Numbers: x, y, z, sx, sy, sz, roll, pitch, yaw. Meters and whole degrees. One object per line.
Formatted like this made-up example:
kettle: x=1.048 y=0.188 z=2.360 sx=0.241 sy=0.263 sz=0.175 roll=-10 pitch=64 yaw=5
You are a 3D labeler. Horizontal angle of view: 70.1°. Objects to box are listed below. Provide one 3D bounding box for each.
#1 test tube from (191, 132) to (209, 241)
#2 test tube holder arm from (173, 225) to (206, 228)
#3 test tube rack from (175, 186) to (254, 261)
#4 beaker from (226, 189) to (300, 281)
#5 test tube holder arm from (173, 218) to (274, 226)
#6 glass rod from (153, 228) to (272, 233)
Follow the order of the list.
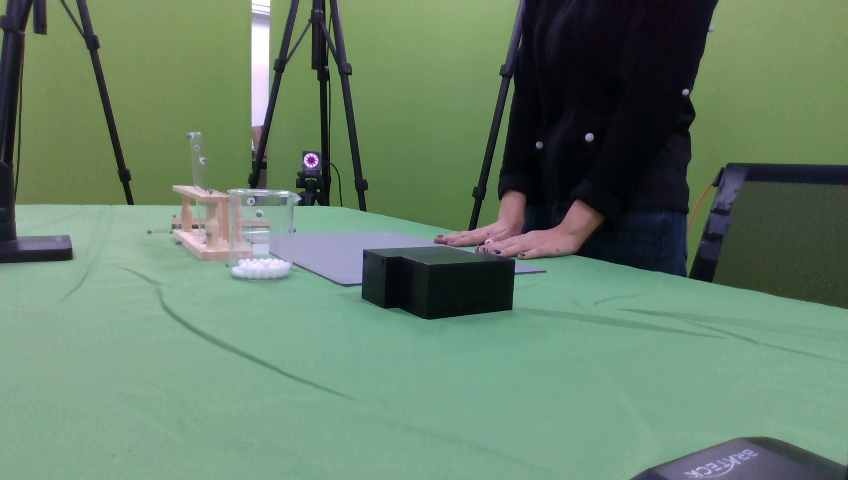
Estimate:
test tube: x=-0.308 y=-0.074 z=0.840 sx=0.017 sy=0.150 sz=0.017 roll=-4 pitch=6 yaw=1
test tube holder arm: x=-0.414 y=-0.030 z=1.113 sx=0.088 sy=0.015 sz=0.010 roll=-1 pitch=-21 yaw=-25
test tube rack: x=-0.314 y=-0.030 z=0.889 sx=0.067 sy=0.085 sz=0.241 roll=-2 pitch=8 yaw=-30
beaker: x=-0.184 y=-0.007 z=0.694 sx=0.084 sy=0.100 sz=0.073 roll=-1 pitch=8 yaw=-29
test tube holder arm: x=-0.371 y=-0.033 z=1.128 sx=0.179 sy=0.015 sz=0.013 roll=-1 pitch=-22 yaw=-25
glass rod: x=-0.368 y=-0.017 z=1.065 sx=0.201 sy=0.008 sz=0.008 roll=-2 pitch=8 yaw=-27
